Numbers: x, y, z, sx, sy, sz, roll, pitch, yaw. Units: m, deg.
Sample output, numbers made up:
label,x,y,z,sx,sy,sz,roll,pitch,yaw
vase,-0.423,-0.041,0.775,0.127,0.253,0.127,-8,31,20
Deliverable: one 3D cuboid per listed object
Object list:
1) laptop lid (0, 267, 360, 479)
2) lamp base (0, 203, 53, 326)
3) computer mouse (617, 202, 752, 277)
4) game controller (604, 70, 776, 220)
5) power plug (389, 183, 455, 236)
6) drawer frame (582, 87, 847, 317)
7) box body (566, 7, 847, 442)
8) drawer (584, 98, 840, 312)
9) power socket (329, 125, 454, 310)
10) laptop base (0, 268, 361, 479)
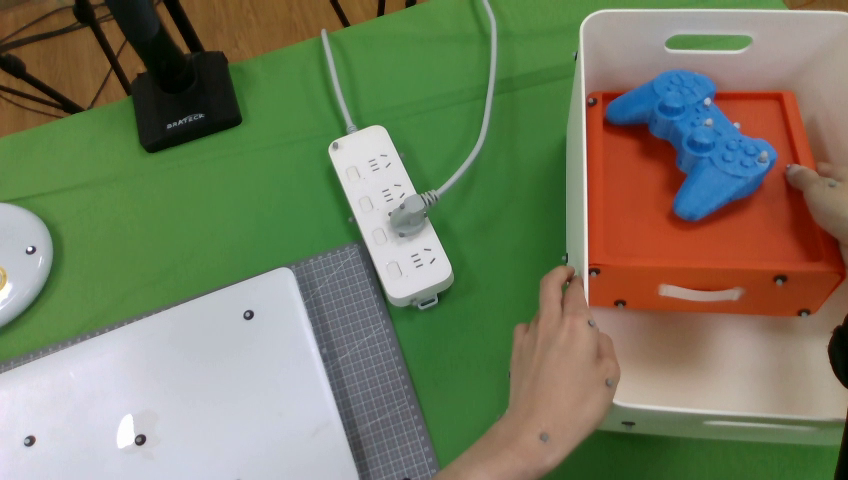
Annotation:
label,x,y,z,sx,sy,sz,roll,pitch,yaw
laptop lid,-0.258,0.185,0.562,0.357,0.013,0.239,-20,67,-4
lamp base,-0.504,-0.008,0.597,0.178,0.182,0.160,26,69,19
computer mouse,0.242,-0.004,0.566,0.116,0.041,0.062,6,59,19
game controller,0.240,-0.096,0.548,0.097,0.052,0.153,-16,55,-7
power plug,0.000,-0.025,0.618,0.072,0.053,0.035,-12,63,-2
drawer frame,0.250,-0.042,0.571,0.201,0.083,0.211,1,55,12
box body,0.259,-0.014,0.544,0.254,0.161,0.361,2,65,6
drawer,0.250,-0.039,0.571,0.194,0.074,0.210,1,54,13
power socket,-0.038,-0.031,0.650,0.072,0.033,0.224,-21,65,-7
laptop base,-0.258,0.188,0.573,0.354,0.023,0.233,-21,69,-5
